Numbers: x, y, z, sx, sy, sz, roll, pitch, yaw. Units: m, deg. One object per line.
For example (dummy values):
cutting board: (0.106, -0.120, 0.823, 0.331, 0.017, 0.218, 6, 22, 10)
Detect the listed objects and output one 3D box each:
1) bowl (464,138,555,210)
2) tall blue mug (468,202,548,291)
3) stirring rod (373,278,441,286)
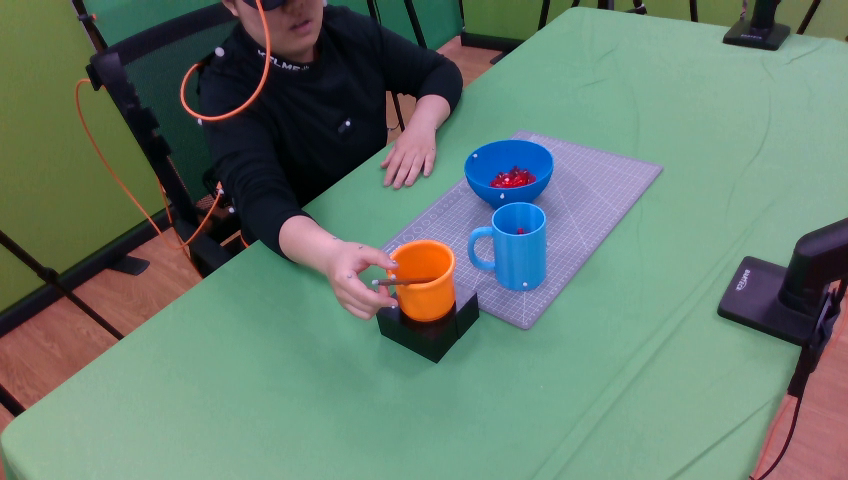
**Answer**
bowl: (0.145, -0.100, 1.025, 0.151, 0.077, 0.150, -5, 40, 5)
tall blue mug: (0.125, 0.015, 0.869, 0.107, 0.108, 0.077, -21, 42, -14)
stirring rod: (-0.017, 0.052, 0.757, 0.014, 0.006, 0.177, 10, 2, 24)
